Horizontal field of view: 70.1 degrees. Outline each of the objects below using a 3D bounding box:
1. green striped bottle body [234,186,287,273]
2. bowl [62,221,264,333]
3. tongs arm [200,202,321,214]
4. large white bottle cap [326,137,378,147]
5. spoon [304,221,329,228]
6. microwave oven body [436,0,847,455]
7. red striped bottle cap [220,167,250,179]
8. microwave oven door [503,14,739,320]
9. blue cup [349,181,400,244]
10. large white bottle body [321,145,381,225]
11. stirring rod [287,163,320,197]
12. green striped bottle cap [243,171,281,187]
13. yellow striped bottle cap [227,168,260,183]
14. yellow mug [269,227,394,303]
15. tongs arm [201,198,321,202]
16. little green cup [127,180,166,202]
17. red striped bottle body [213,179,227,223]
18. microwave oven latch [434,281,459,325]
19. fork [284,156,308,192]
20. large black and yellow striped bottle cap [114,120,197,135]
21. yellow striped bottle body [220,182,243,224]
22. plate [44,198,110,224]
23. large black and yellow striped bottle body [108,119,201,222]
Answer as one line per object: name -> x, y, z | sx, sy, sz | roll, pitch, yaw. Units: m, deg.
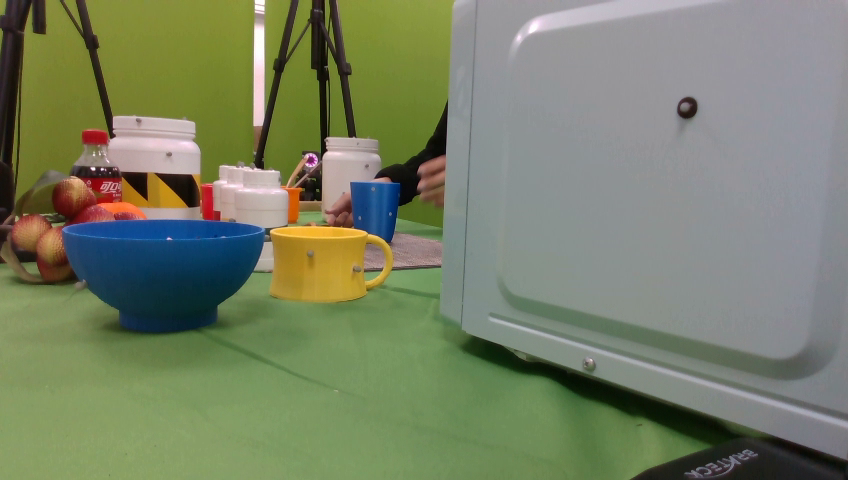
green striped bottle body -> -0.200, -0.023, 0.743 | 0.063, 0.119, 0.063 | 2, 7, 0
bowl -> -0.209, 0.029, 0.496 | 0.151, 0.077, 0.151 | 2, 7, 0
tongs arm -> -0.378, -0.079, 1.440 | 0.387, 0.026, 0.050 | -4, 8, -44
large white bottle cap -> -0.158, -0.214, 1.329 | 0.115, 0.018, 0.115 | 2, 8, 0
spoon -> -0.203, -0.025, 1.108 | 0.042, 0.021, 0.193 | -21, 13, -13
microwave oven body -> 0.279, -0.040, 0.465 | 0.444, 0.260, 0.324 | -3, 9, -41
red striped bottle cap -> -0.281, -0.100, 0.901 | 0.044, 0.017, 0.044 | -1, 5, 0
microwave oven door -> 0.217, -0.065, 0.601 | 0.358, 0.243, 0.039 | -4, 10, -41
blue cup -> -0.083, -0.047, 1.013 | 0.093, 0.100, 0.092 | 2, 7, 0
large white bottle body -> -0.162, -0.131, 1.341 | 0.131, 0.184, 0.130 | 2, 8, 0
stirring rod -> -0.283, -0.107, 1.298 | 0.014, 0.006, 0.176 | 10, 53, 51
green striped bottle cap -> -0.198, -0.074, 0.736 | 0.044, 0.020, 0.044 | 1, 7, 0
yellow striped bottle cap -> -0.243, -0.087, 0.818 | 0.044, 0.018, 0.044 | 3, 6, 0
yellow mug -> -0.094, 0.023, 0.629 | 0.131, 0.064, 0.099 | 0, 7, -22
tongs arm -> -0.433, -0.090, 1.508 | 0.390, 0.028, 0.028 | -1, 2, -29
little green cup -> -0.486, -0.086, 1.061 | 0.061, 0.038, 0.061 | 1, 7, 0
red striped bottle body -> -0.284, -0.048, 0.910 | 0.063, 0.119, 0.063 | 3, 12, 0
microwave oven latch -> 0.044, 0.045, 0.470 | 0.079, 0.029, 0.030 | -2, 8, -39
fork -> -0.295, -0.116, 1.323 | 0.028, 0.019, 0.207 | 1, 50, 21
large black and yellow striped bottle cap -> -0.407, -0.171, 0.920 | 0.115, 0.019, 0.115 | 2, 9, 0
yellow striped bottle body -> -0.246, -0.036, 0.825 | 0.063, 0.120, 0.063 | 3, 8, 0
plate -> -0.617, -0.056, 1.179 | 0.209, 0.038, 0.209 | 3, 7, 0
large black and yellow striped bottle body -> -0.412, -0.088, 0.930 | 0.131, 0.184, 0.130 | 3, 7, 0
